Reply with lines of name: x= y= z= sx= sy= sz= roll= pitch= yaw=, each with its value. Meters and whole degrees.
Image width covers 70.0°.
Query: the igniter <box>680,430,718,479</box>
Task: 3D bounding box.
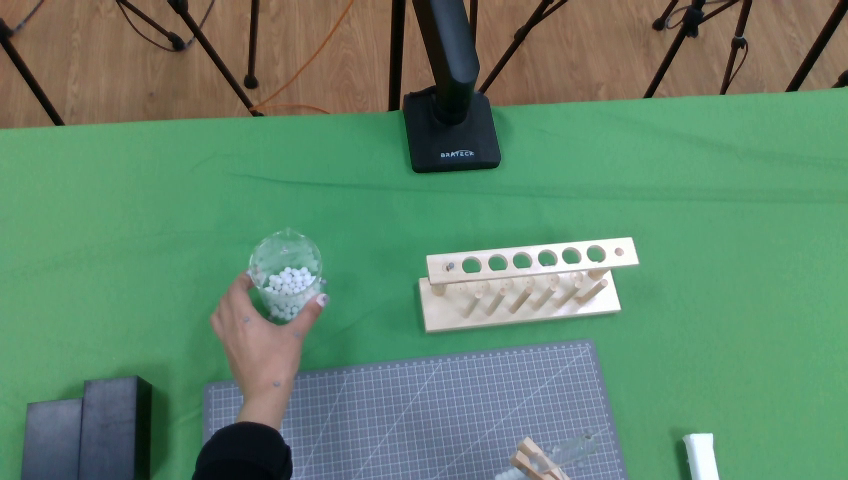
igniter: x=0.313 y=0.345 z=0.641 sx=0.057 sy=0.025 sz=0.274 roll=5 pitch=66 yaw=-16

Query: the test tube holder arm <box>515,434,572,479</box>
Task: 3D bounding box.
test tube holder arm: x=0.145 y=0.233 z=0.511 sx=0.178 sy=0.015 sz=0.013 roll=44 pitch=53 yaw=6

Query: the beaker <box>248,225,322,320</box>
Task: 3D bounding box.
beaker: x=-0.149 y=0.040 z=0.669 sx=0.074 sy=0.101 sz=0.083 roll=0 pitch=66 yaw=-8

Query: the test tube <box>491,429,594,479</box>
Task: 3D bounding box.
test tube: x=0.095 y=0.187 z=0.513 sx=0.017 sy=0.151 sz=0.017 roll=12 pitch=55 yaw=-18

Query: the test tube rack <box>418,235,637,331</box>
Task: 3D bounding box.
test tube rack: x=0.120 y=0.051 z=0.708 sx=0.243 sy=0.085 sz=0.066 roll=-5 pitch=68 yaw=-9

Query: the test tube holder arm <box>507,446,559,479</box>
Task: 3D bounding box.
test tube holder arm: x=0.109 y=0.206 z=0.511 sx=0.088 sy=0.015 sz=0.010 roll=38 pitch=52 yaw=1
